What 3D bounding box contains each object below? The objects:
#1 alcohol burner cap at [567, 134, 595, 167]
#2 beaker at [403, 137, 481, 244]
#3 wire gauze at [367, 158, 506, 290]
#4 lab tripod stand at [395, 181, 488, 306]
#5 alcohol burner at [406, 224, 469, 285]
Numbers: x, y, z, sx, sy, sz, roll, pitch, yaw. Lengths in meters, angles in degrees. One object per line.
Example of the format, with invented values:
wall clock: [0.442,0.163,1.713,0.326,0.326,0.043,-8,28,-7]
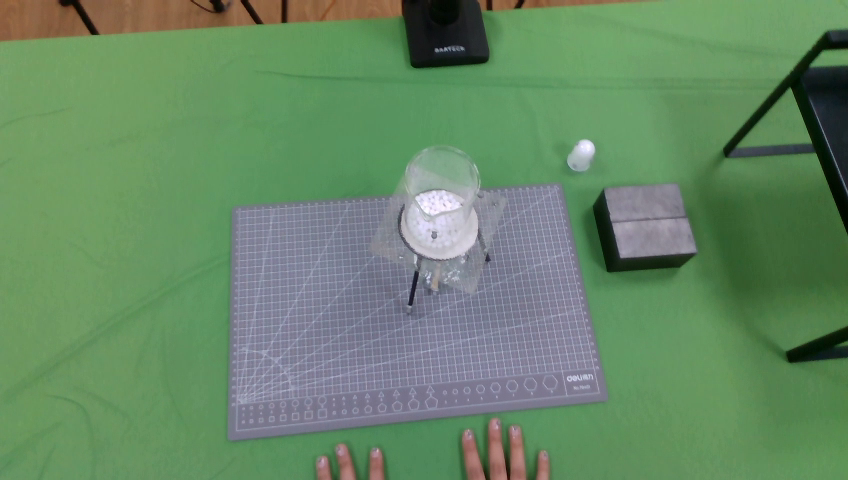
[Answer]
alcohol burner cap: [0.220,-0.126,0.842,0.034,0.048,0.033,1,67,-2]
beaker: [0.014,-0.043,0.621,0.074,0.101,0.083,19,67,5]
wire gauze: [0.016,-0.022,0.665,0.125,0.011,0.121,23,69,3]
lab tripod stand: [0.014,-0.003,0.728,0.148,0.132,0.147,2,66,-3]
alcohol burner: [0.018,0.011,0.734,0.078,0.120,0.077,2,69,-4]
